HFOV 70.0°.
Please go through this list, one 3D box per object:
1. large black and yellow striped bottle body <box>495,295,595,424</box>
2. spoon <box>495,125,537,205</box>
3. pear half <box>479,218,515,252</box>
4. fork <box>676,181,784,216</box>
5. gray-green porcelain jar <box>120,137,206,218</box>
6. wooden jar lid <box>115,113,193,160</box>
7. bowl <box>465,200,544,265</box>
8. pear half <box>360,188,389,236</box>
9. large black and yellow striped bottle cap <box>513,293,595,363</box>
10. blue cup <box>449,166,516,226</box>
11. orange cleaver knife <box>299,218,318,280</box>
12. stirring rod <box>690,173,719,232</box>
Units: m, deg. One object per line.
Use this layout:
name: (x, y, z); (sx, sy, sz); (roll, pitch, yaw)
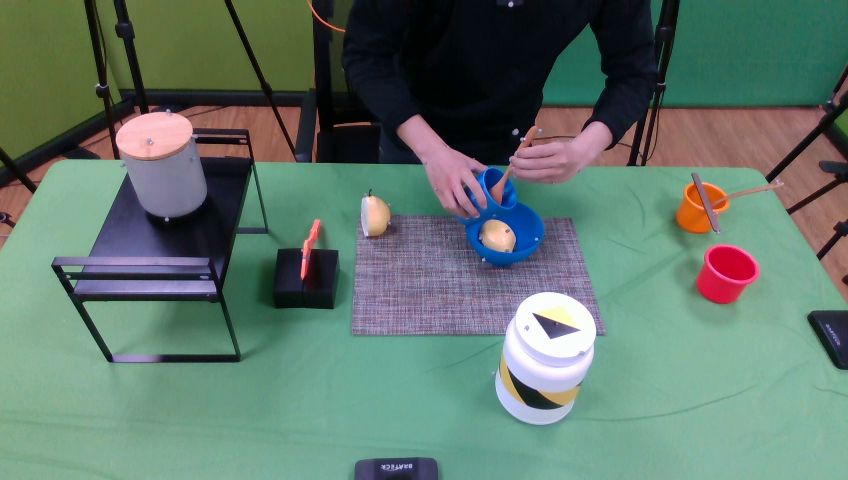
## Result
large black and yellow striped bottle body: (0.183, 0.182, 0.923); (0.131, 0.185, 0.130); (2, 46, -2)
spoon: (0.143, -0.119, 1.045); (0.041, 0.194, 0.021); (34, 33, 9)
pear half: (0.143, -0.011, 1.163); (0.070, 0.031, 0.087); (-18, 56, -13)
fork: (0.618, -0.084, 1.235); (0.207, 0.019, 0.028); (-23, 21, 38)
gray-green porcelain jar: (-0.403, -0.106, 0.946); (0.106, 0.127, 0.105); (3, 46, -2)
wooden jar lid: (-0.399, -0.151, 0.900); (0.108, 0.021, 0.107); (3, 46, -3)
bowl: (0.149, -0.004, 1.167); (0.151, 0.077, 0.150); (2, 46, -2)
pear half: (-0.096, -0.060, 1.181); (0.056, 0.110, 0.076); (-14, 52, -17)
large black and yellow striped bottle cap: (0.186, 0.123, 0.863); (0.115, 0.019, 0.114); (3, 45, -3)
blue cup: (0.100, -0.073, 1.098); (0.093, 0.100, 0.092); (23, 52, -33)
orange cleaver knife: (-0.214, 0.013, 1.125); (0.012, 0.077, 0.210); (6, 17, -5)
stirring rod: (0.566, -0.080, 1.225); (0.014, 0.006, 0.175); (2, 46, 2)
